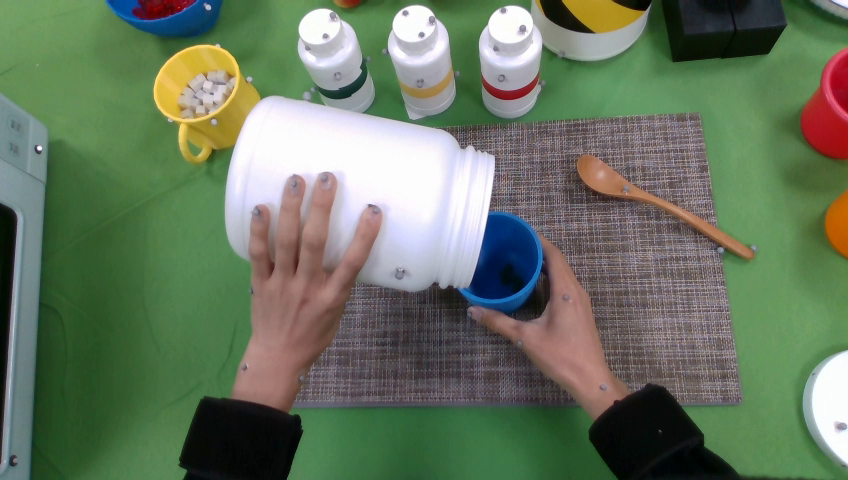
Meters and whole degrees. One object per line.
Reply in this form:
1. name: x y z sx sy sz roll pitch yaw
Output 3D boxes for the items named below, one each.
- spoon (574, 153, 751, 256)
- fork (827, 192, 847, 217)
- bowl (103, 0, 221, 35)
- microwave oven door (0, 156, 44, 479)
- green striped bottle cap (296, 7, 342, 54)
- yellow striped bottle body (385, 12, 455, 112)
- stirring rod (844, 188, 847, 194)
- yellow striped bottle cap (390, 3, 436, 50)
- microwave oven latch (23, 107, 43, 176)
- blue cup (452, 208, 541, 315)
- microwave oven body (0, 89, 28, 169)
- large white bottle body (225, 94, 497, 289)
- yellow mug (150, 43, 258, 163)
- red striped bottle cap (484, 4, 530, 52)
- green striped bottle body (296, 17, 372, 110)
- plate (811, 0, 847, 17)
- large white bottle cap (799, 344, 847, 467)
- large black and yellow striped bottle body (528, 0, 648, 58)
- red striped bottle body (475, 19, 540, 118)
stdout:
1. spoon: 0.237 -0.035 0.609 0.193 0.022 0.041 29 53 15
2. fork: 0.441 -0.007 0.509 0.028 0.205 0.019 -23 114 -14
3. bowl: -0.305 -0.307 0.742 0.151 0.077 0.150 -2 72 6
4. microwave oven door: -0.441 0.060 0.532 0.039 0.245 0.353 -11 71 4
5. green striped bottle cap: -0.105 -0.210 0.607 0.044 0.020 0.044 -2 70 6
6. yellow striped bottle body: -0.004 -0.193 0.643 0.063 0.121 0.062 -3 71 8
7. stirring rod: 0.414 -0.008 0.521 0.014 0.006 0.175 0 29 5
8. yellow striped bottle cap: -0.011 -0.210 0.595 0.044 0.019 0.044 -2 73 6
9. microwave oven latch: -0.461 -0.112 0.699 0.030 0.030 0.078 -9 72 4
10. blue cup: 0.064 0.029 0.565 0.092 0.101 0.092 -2 69 7
11. microwave oven body: -0.590 0.050 0.560 0.326 0.262 0.438 -11 71 3
12. large white bottle body: -0.044 -0.033 0.475 0.185 0.131 0.130 11 73 0
13. yellow mug: -0.252 -0.150 0.690 0.100 0.064 0.130 8 73 9
14. red striped bottle cap: 0.080 -0.204 0.581 0.044 0.018 0.044 -1 70 3
15. green striped bottle body: -0.098 -0.193 0.656 0.063 0.120 0.063 -2 71 6
16. plate: 0.495 -0.324 0.667 0.209 0.038 0.208 -2 72 7
17. large white bottle cap: 0.396 0.147 0.535 0.115 0.018 0.114 -2 71 6
18. large black and yellow striped bottle body: 0.174 -0.291 0.620 0.130 0.185 0.130 -2 71 7
19. red striped bottle body: 0.088 -0.185 0.631 0.063 0.121 0.062 -4 68 11
